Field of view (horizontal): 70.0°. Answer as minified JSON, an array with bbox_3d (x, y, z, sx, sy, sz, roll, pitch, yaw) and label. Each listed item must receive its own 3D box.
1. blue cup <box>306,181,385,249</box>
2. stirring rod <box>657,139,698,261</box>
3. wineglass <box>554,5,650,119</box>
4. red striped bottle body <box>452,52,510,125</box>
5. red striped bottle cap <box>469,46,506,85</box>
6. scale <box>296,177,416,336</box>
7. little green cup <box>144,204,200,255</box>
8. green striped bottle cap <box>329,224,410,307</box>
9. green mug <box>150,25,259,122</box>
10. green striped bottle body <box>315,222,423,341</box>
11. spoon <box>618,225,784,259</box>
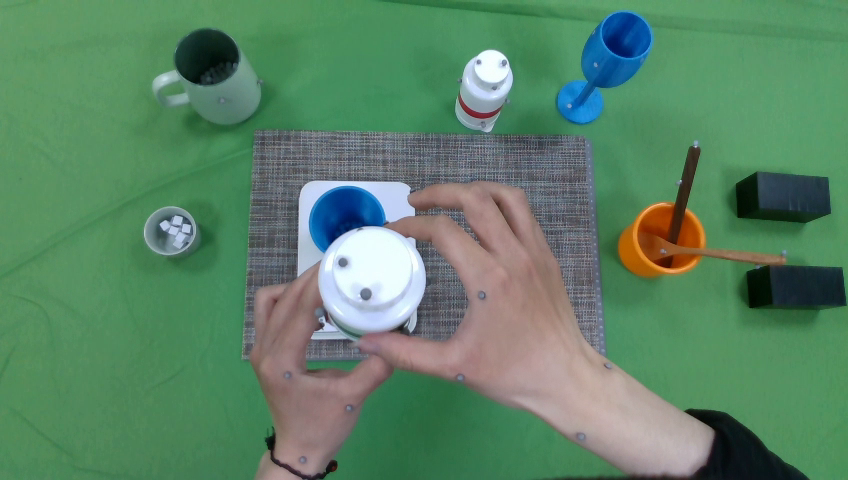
[{"bbox_3d":[-0.088,-0.014,0.704,0.093,0.100,0.092,1,80,-4],"label":"blue cup"},{"bbox_3d":[0.312,-0.044,0.752,0.014,0.177,0.006,5,37,10],"label":"stirring rod"},{"bbox_3d":[0.220,-0.219,0.767,0.074,0.173,0.073,1,78,-3],"label":"wineglass"},{"bbox_3d":[0.073,-0.199,0.780,0.063,0.120,0.063,1,78,-4],"label":"red striped bottle body"},{"bbox_3d":[0.077,-0.210,0.727,0.044,0.018,0.044,1,75,-3],"label":"red striped bottle cap"},{"bbox_3d":[-0.086,0.018,0.764,0.149,0.031,0.200,-1,79,-4],"label":"scale"},{"bbox_3d":[-0.310,-0.010,0.753,0.061,0.039,0.061,1,78,-5],"label":"little green cup"},{"bbox_3d":[-0.029,0.014,0.330,0.044,0.020,0.044,3,74,-9],"label":"green striped bottle cap"},{"bbox_3d":[-0.277,-0.201,0.761,0.125,0.105,0.092,-22,81,-8],"label":"green mug"},{"bbox_3d":[-0.035,0.028,0.383,0.063,0.119,0.063,2,75,-6],"label":"green striped bottle body"},{"bbox_3d":[0.332,0.008,0.742,0.022,0.192,0.041,20,82,-44],"label":"spoon"}]
